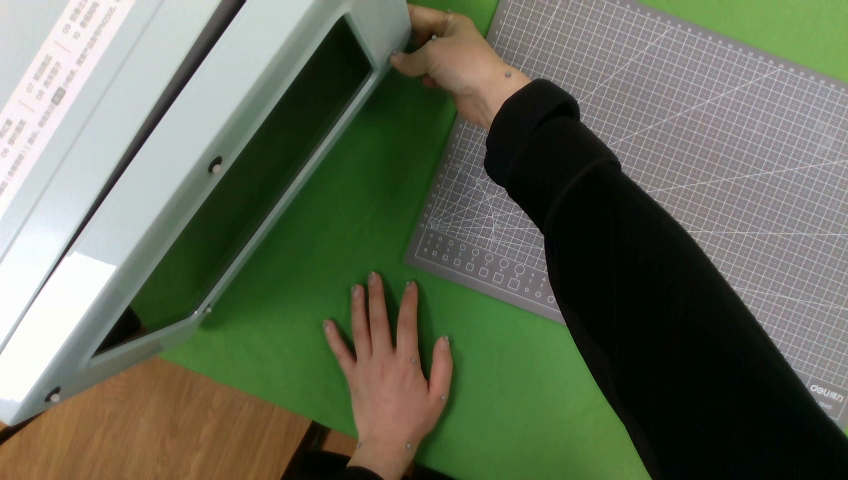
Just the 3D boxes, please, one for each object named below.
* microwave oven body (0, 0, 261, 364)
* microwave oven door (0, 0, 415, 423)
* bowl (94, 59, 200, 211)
[{"bbox_3d":[-0.236,-0.173,0.441,0.326,0.260,0.442,35,95,-1],"label":"microwave oven body"},{"bbox_3d":[-0.135,-0.049,0.442,0.039,0.243,0.356,38,94,0],"label":"microwave oven door"},{"bbox_3d":[-0.236,-0.096,0.478,0.151,0.077,0.151,0,91,4],"label":"bowl"}]
